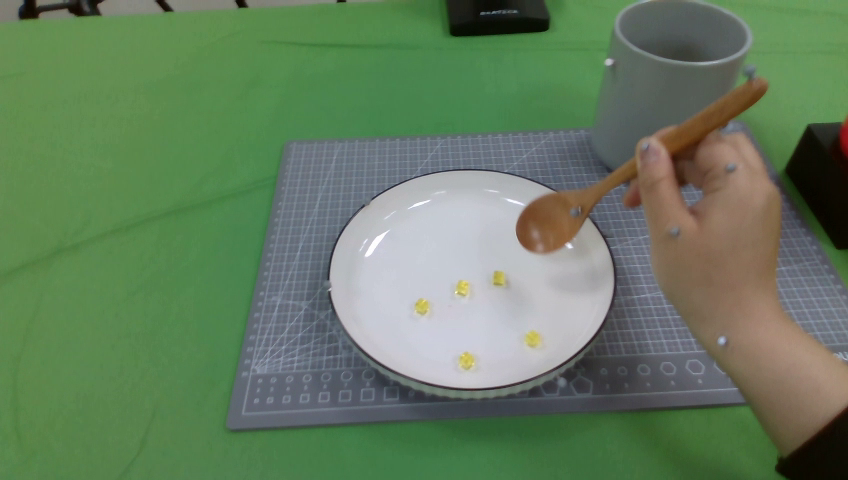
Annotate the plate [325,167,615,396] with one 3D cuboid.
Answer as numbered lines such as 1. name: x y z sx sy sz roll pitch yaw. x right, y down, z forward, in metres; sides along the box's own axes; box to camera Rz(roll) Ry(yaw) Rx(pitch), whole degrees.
1. plate: 0.033 0.026 0.453 0.207 0.039 0.205 -1 48 2

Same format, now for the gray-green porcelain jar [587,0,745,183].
1. gray-green porcelain jar: 0.199 -0.121 0.520 0.106 0.128 0.105 -1 48 2

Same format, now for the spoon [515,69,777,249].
1. spoon: 0.121 -0.041 0.368 0.022 0.194 0.041 -15 77 -34
